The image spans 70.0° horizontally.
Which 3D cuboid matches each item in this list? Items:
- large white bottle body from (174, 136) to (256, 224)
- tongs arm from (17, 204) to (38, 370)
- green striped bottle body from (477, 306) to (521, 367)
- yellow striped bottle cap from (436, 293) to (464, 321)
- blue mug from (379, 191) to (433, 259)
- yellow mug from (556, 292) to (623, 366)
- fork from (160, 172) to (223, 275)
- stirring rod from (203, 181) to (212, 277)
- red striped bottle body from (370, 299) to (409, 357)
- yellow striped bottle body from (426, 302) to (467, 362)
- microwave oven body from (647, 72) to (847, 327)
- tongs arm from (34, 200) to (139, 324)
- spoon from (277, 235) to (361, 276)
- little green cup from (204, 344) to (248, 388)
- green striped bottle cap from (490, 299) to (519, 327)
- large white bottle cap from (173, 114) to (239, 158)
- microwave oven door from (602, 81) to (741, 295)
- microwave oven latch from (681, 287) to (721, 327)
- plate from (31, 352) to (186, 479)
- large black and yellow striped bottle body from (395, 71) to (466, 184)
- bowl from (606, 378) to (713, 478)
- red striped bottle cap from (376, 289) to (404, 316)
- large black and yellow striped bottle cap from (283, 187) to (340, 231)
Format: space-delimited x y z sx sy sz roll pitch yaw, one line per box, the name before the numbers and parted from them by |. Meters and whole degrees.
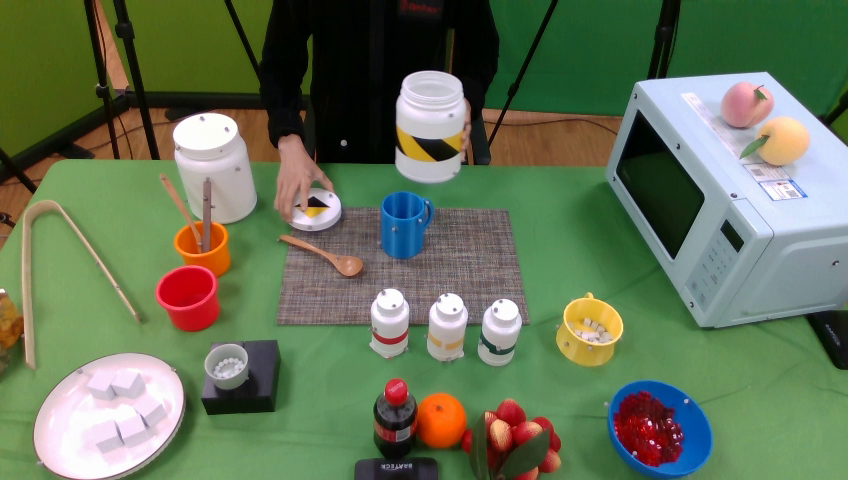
large white bottle body | -0.408 -0.137 1.183 0.131 0.185 0.130 2 46 -2
tongs arm | -0.698 0.069 1.068 0.028 0.028 0.385 -20 50 -13
green striped bottle body | 0.124 0.151 0.995 0.063 0.120 0.063 2 46 -2
yellow striped bottle cap | 0.041 0.106 0.959 0.044 0.019 0.044 0 50 1
blue mug | -0.031 -0.035 1.167 0.116 0.106 0.082 -26 54 -27
yellow mug | 0.285 0.145 1.051 0.100 0.064 0.130 7 45 3
fork | -0.425 -0.030 1.103 0.028 0.018 0.207 -29 99 -19
stirring rod | -0.396 -0.021 1.108 0.014 0.006 0.176 -1 89 -1
red striped bottle body | -0.057 0.135 0.997 0.063 0.120 0.062 2 47 -2
yellow striped bottle body | 0.037 0.142 0.996 0.063 0.121 0.062 2 46 -2
microwave oven body | 0.607 -0.089 1.164 0.326 0.261 0.438 -7 46 -10
tongs arm | -0.622 0.034 1.105 0.051 0.026 0.382 -32 55 -26
spoon | -0.202 0.023 1.155 0.193 0.022 0.041 23 70 18
little green cup | -0.294 0.191 0.909 0.061 0.039 0.061 1 48 -1
green striped bottle cap | 0.127 0.115 0.958 0.044 0.020 0.044 2 48 -2
large white bottle cap | -0.403 -0.195 1.122 0.115 0.018 0.114 2 47 -2
microwave oven door | 0.456 -0.107 1.162 0.039 0.245 0.353 -7 47 -11
microwave oven latch | 0.494 0.119 1.087 0.030 0.029 0.078 -6 46 -9
plate | -0.459 0.262 0.898 0.209 0.038 0.208 2 46 -2
large black and yellow striped bottle body | 0.012 -0.216 1.161 0.131 0.185 0.130 2 41 -2
bowl | 0.340 0.292 0.906 0.151 0.077 0.150 2 46 -2
red striped bottle cap | -0.054 0.098 0.958 0.044 0.018 0.044 0 48 0
large black and yellow striped bottle cap | -0.227 -0.064 1.227 0.115 0.019 0.114 3 47 -3
